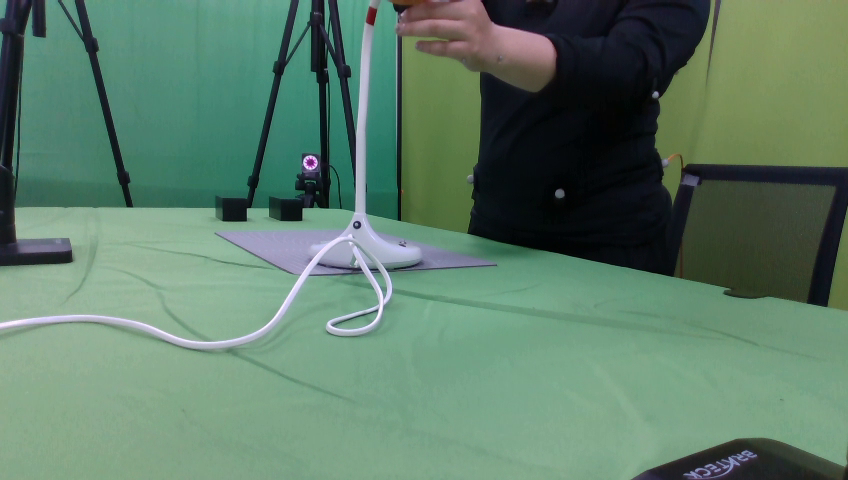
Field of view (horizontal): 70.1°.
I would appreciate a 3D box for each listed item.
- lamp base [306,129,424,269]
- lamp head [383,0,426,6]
[{"bbox_3d":[-0.077,-0.057,0.810,0.161,0.180,0.179,2,10,-4],"label":"lamp base"},{"bbox_3d":[-0.025,-0.326,0.672,0.112,0.123,0.112,4,3,0],"label":"lamp head"}]
